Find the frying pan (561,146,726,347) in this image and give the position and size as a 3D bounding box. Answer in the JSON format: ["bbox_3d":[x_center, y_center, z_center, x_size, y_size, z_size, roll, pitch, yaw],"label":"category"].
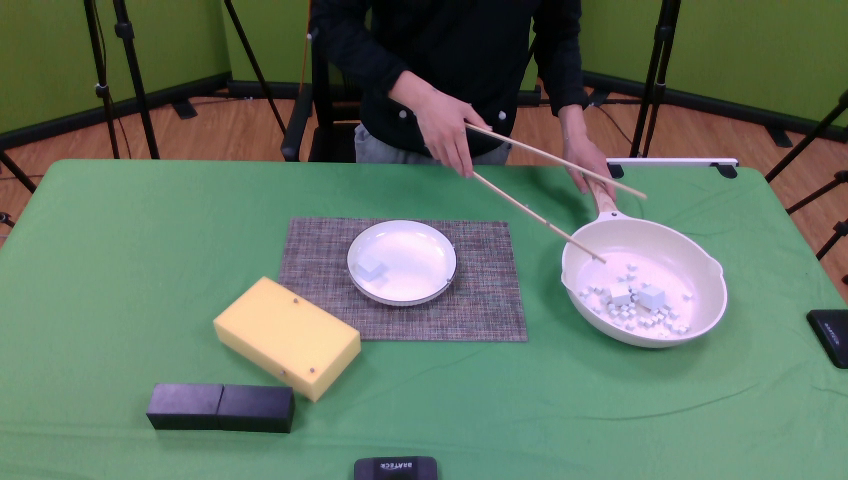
[{"bbox_3d":[0.378,-0.005,1.175,0.307,0.103,0.484,-4,55,-9],"label":"frying pan"}]

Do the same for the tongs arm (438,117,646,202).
[{"bbox_3d":[0.201,-0.143,1.061,0.386,0.028,0.028,25,5,15],"label":"tongs arm"}]

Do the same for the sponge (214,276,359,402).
[{"bbox_3d":[-0.225,0.158,0.998,0.206,0.061,0.118,27,52,18],"label":"sponge"}]

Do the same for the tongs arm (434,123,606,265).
[{"bbox_3d":[0.165,-0.085,1.063,0.383,0.026,0.051,35,95,15],"label":"tongs arm"}]

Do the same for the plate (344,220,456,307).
[{"bbox_3d":[-0.045,0.047,1.133,0.208,0.039,0.206,3,46,-2],"label":"plate"}]
